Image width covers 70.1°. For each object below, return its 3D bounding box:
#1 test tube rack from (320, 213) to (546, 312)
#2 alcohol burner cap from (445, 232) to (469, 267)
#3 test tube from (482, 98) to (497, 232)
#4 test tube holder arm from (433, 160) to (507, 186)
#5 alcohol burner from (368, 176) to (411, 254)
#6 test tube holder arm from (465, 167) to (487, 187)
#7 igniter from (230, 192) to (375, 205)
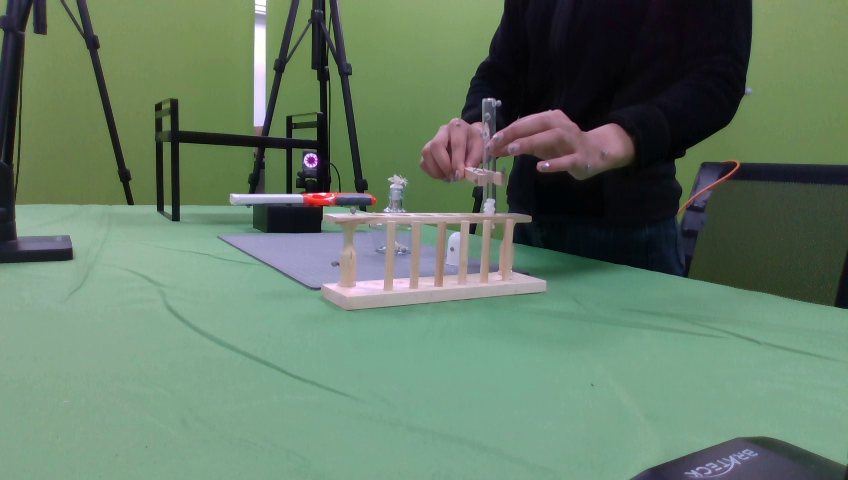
[{"bbox_3d":[0.018,0.017,0.638,0.244,0.085,0.066,-1,9,-31],"label":"test tube rack"},{"bbox_3d":[0.045,0.013,0.829,0.034,0.048,0.034,2,7,0],"label":"alcohol burner cap"},{"bbox_3d":[0.074,-0.083,0.683,0.017,0.150,0.017,-1,5,0],"label":"test tube"},{"bbox_3d":[0.053,-0.085,0.755,0.013,0.015,0.177,-4,14,-23],"label":"test tube holder arm"},{"bbox_3d":[-0.045,-0.038,0.912,0.078,0.119,0.078,4,7,0],"label":"alcohol burner"},{"bbox_3d":[0.060,-0.075,0.712,0.010,0.015,0.087,-1,13,-6],"label":"test tube holder arm"},{"bbox_3d":[-0.226,-0.079,1.161,0.278,0.025,0.057,-2,15,-28],"label":"igniter"}]
